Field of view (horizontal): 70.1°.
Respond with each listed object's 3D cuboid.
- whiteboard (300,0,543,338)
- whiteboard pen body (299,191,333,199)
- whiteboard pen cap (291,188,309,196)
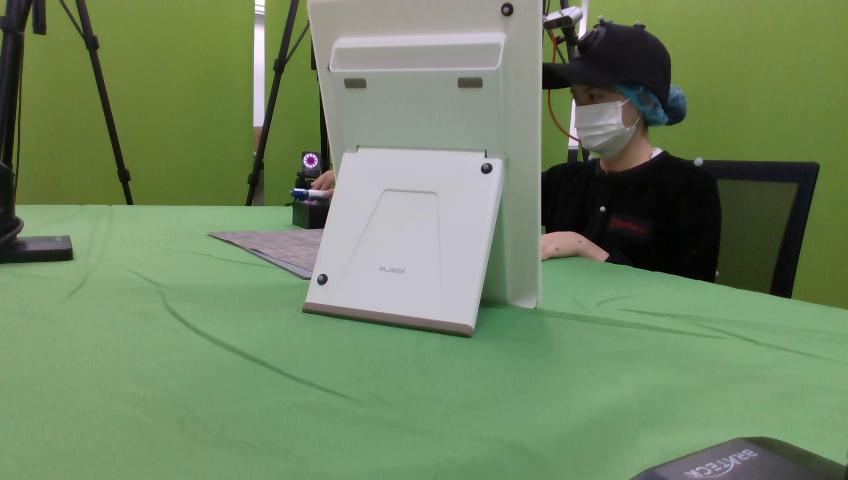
[{"bbox_3d":[-0.020,-0.050,0.523,0.216,0.305,0.144,6,27,22],"label":"whiteboard"},{"bbox_3d":[-0.197,-0.092,1.236,0.141,0.017,0.017,-4,10,-36],"label":"whiteboard pen body"},{"bbox_3d":[-0.246,-0.095,1.199,0.033,0.018,0.018,-3,9,-37],"label":"whiteboard pen cap"}]
